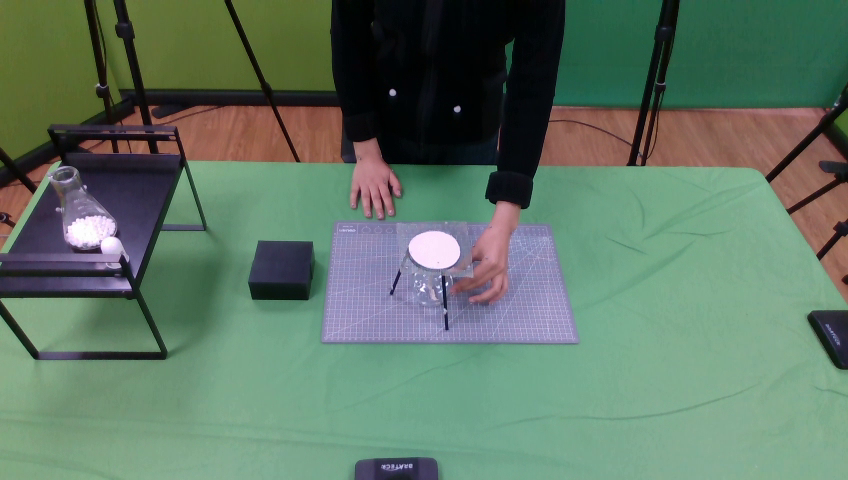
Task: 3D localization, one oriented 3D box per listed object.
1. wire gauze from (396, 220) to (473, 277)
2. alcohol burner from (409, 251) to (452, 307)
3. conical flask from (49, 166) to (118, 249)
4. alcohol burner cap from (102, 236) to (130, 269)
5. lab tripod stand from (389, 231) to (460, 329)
[{"bbox_3d":[0.016,0.012,1.013,0.125,0.011,0.120,1,47,-5],"label":"wire gauze"},{"bbox_3d":[0.013,0.063,1.071,0.078,0.119,0.077,3,45,-3],"label":"alcohol burner"},{"bbox_3d":[-0.505,-0.051,0.888,0.075,0.122,0.075,2,46,-2],"label":"conical flask"},{"bbox_3d":[-0.451,0.016,0.883,0.034,0.048,0.033,3,44,-3],"label":"alcohol burner cap"},{"bbox_3d":[0.015,0.063,1.058,0.148,0.132,0.147,4,46,-4],"label":"lab tripod stand"}]
